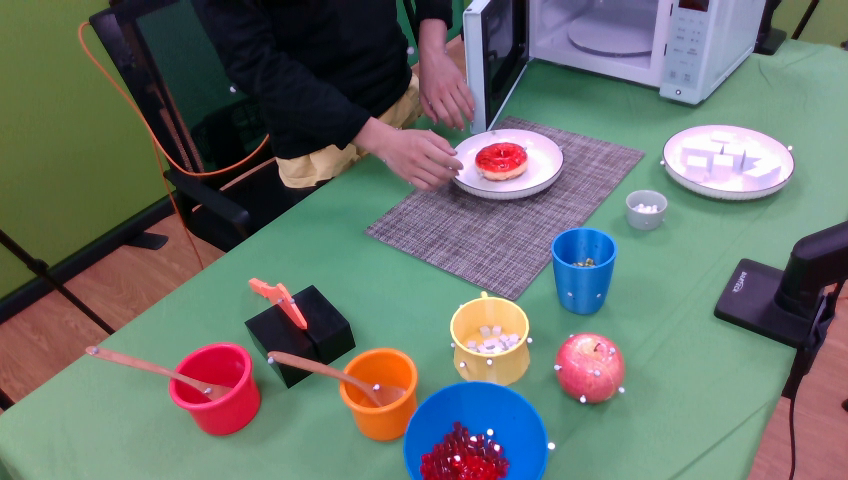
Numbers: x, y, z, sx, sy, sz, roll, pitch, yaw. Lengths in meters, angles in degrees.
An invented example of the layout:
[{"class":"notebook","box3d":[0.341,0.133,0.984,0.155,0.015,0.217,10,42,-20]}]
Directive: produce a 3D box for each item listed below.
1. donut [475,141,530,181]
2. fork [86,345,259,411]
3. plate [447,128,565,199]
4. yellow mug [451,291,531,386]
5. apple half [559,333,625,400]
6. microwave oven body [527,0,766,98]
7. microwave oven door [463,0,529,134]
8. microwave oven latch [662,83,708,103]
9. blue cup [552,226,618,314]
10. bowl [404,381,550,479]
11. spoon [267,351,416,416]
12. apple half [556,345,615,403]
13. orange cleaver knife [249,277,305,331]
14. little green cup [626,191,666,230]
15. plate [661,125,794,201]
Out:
[{"class":"donut","box3d":[0.141,-0.145,1.088,0.099,0.048,0.098,-6,37,5]},{"class":"fork","box3d":[-0.298,0.166,0.728,0.209,0.018,0.028,28,48,-23]},{"class":"plate","box3d":[0.147,-0.133,1.092,0.209,0.038,0.208,-4,40,4]},{"class":"yellow mug","box3d":[0.085,0.120,0.786,0.100,0.064,0.130,-6,39,1]},{"class":"apple half","box3d":[0.209,0.147,0.730,0.080,0.075,0.053,26,47,38]},{"class":"microwave oven body","box3d":[0.472,-0.513,1.317,0.438,0.261,0.327,26,51,34]},{"class":"microwave oven door","box3d":[0.156,-0.410,1.236,0.039,0.245,0.355,10,43,19]},{"class":"microwave oven latch","box3d":[0.517,-0.296,1.204,0.078,0.029,0.030,27,52,35]},{"class":"blue cup","box3d":[0.218,0.047,0.826,0.092,0.101,0.092,-6,40,5]},{"class":"bowl","box3d":[0.058,0.235,0.645,0.151,0.077,0.150,-4,39,4]},{"class":"spoon","box3d":[-0.091,0.162,0.699,0.021,0.195,0.041,-44,31,27]},{"class":"apple half","box3d":[0.181,0.167,0.709,0.080,0.081,0.033,29,50,35]},{"class":"orange cleaver knife","box3d":[-0.210,0.088,0.855,0.012,0.077,0.210,-28,15,-25]},{"class":"little green cup","box3d":[0.352,-0.046,0.963,0.061,0.039,0.061,-4,40,4]},{"class":"plate","box3d":[0.513,-0.128,1.035,0.207,0.039,0.206,-4,40,4]}]
